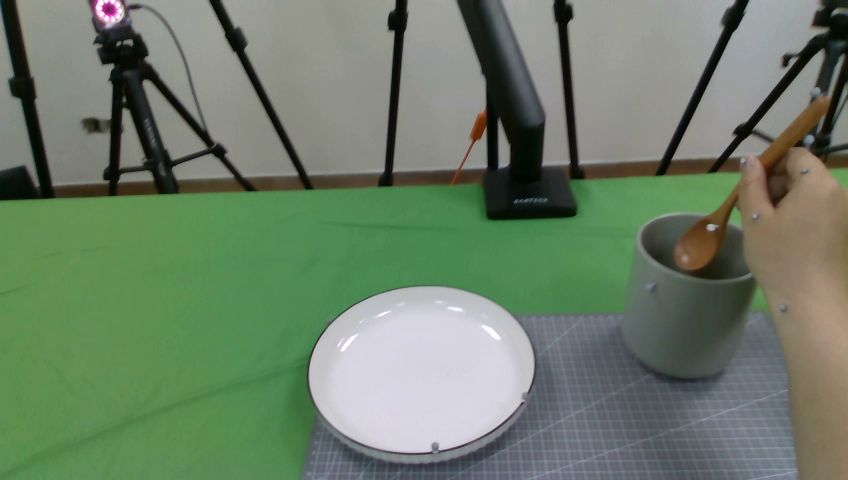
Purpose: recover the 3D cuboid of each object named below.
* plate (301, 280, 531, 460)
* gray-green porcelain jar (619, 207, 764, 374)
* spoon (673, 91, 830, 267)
[{"bbox_3d":[-0.007,0.117,0.561,0.207,0.039,0.205,-2,36,2],"label":"plate"},{"bbox_3d":[0.239,0.050,0.557,0.106,0.127,0.105,-3,36,2],"label":"gray-green porcelain jar"},{"bbox_3d":[0.247,-0.039,0.473,0.022,0.195,0.041,1,56,-6],"label":"spoon"}]
